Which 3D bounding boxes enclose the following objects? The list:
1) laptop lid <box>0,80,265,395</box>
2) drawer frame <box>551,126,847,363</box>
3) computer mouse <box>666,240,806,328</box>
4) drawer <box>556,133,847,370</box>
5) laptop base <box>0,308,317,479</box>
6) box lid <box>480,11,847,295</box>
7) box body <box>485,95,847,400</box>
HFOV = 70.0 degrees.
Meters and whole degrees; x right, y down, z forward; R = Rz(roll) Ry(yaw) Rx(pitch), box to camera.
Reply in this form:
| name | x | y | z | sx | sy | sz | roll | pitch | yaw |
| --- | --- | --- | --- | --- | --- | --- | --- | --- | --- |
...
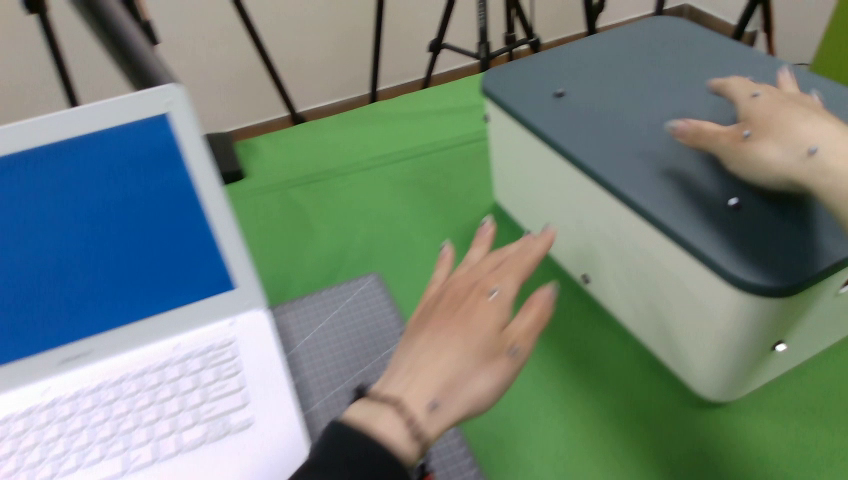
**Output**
| name | x | y | z | sx | sy | sz | roll | pitch | yaw |
| --- | --- | --- | --- | --- | --- | --- | --- | --- | --- |
| laptop lid | -0.348 | 0.016 | 0.537 | 0.357 | 0.243 | 0.013 | -20 | 15 | -13 |
| drawer frame | 0.262 | -0.009 | 0.574 | 0.202 | 0.083 | 0.211 | -19 | 40 | -16 |
| computer mouse | 0.292 | 0.039 | 0.570 | 0.117 | 0.041 | 0.062 | -18 | 47 | -2 |
| drawer | 0.263 | -0.003 | 0.580 | 0.195 | 0.074 | 0.209 | -21 | 44 | -12 |
| laptop base | -0.274 | 0.195 | 0.484 | 0.355 | 0.023 | 0.232 | -19 | 47 | -13 |
| box lid | 0.244 | -0.109 | 0.532 | 0.263 | 0.015 | 0.367 | -23 | 44 | -16 |
| box body | 0.251 | -0.055 | 0.583 | 0.254 | 0.162 | 0.360 | -22 | 44 | -17 |
